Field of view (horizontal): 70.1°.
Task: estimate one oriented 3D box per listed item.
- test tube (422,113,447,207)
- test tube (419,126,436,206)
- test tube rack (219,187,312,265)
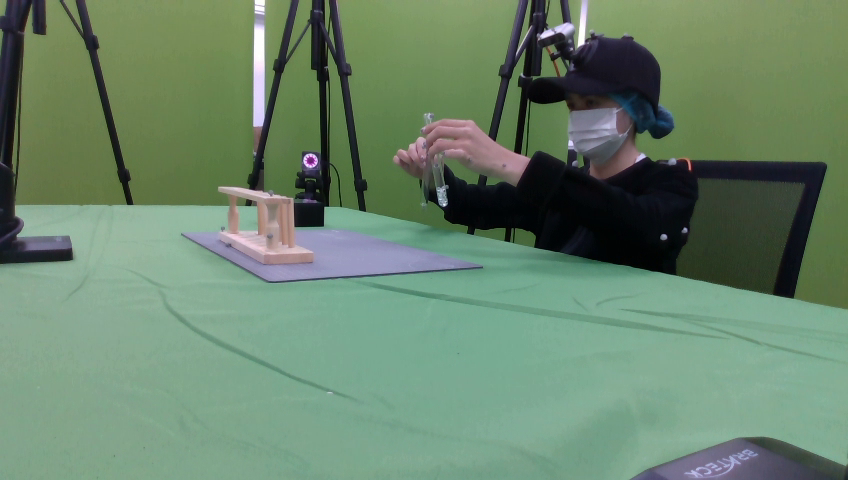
[{"bbox_3d":[0.017,-0.125,0.949,0.017,0.150,0.017,-10,1,0],"label":"test tube"},{"bbox_3d":[0.005,-0.133,1.105,0.017,0.150,0.017,6,22,-2],"label":"test tube"},{"bbox_3d":[-0.235,-0.027,0.872,0.067,0.085,0.241,-2,8,-31],"label":"test tube rack"}]
